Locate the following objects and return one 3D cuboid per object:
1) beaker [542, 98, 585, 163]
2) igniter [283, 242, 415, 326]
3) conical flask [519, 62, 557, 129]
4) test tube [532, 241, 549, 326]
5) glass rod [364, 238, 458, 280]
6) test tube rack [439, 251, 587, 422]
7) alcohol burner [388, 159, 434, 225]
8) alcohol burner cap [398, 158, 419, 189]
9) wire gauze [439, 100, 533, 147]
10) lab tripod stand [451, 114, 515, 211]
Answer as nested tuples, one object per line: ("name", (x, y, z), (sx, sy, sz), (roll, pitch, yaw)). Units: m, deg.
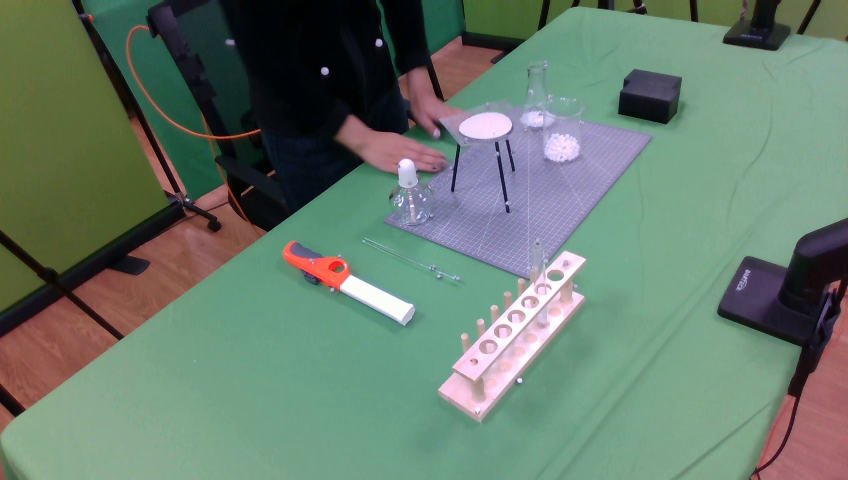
("beaker", (0.255, -0.200, 1.107), (0.073, 0.101, 0.084), (9, 43, 21))
("igniter", (-0.126, 0.062, 0.931), (0.274, 0.025, 0.057), (24, 61, 33))
("conical flask", (0.225, -0.287, 1.198), (0.075, 0.122, 0.075), (-6, 40, 5))
("test tube", (0.147, 0.059, 0.760), (0.017, 0.151, 0.017), (-7, 44, 7))
("glass rod", (-0.026, 0.029, 0.966), (0.198, 0.008, 0.008), (21, 49, 35))
("test tube rack", (0.118, 0.111, 0.780), (0.066, 0.085, 0.243), (26, 51, 35))
("alcohol burner", (-0.023, -0.084, 1.013), (0.078, 0.119, 0.077), (-4, 38, 4))
("alcohol burner cap", (-0.027, -0.111, 0.989), (0.034, 0.048, 0.033), (-3, 46, 4))
("wire gauze", (0.100, -0.190, 0.994), (0.125, 0.011, 0.120), (-15, 39, -7))
("lab tripod stand", (0.113, -0.140, 1.037), (0.148, 0.132, 0.147), (-6, 38, 5))
